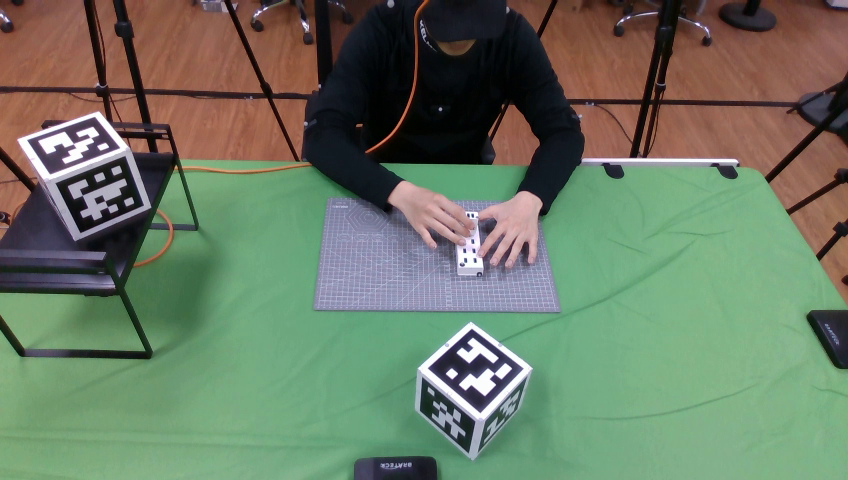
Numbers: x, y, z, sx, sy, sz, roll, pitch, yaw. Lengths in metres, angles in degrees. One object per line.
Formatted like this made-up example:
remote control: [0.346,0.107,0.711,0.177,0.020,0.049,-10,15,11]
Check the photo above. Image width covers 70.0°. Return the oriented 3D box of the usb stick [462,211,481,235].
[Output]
usb stick: [0.092,-0.037,1.167,0.027,0.059,0.021,-27,63,-20]

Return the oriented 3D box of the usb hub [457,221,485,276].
usb hub: [0.090,0.015,1.178,0.049,0.025,0.124,1,45,-1]
